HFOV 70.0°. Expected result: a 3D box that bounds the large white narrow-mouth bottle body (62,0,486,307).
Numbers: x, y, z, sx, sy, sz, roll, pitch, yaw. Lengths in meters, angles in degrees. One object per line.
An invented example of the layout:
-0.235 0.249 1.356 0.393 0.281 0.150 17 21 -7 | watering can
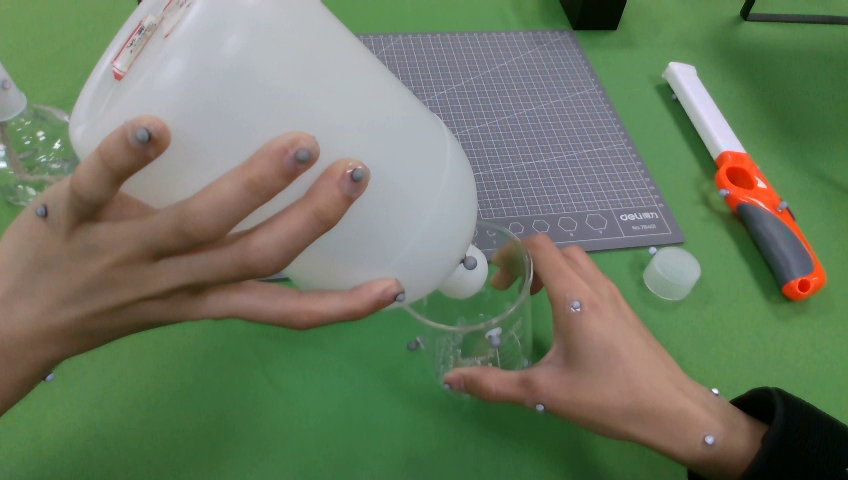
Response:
-0.038 -0.026 0.267 0.101 0.197 0.101 -24 48 30 | large white narrow-mouth bottle body

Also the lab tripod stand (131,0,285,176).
-0.165 -0.144 0.468 0.148 0.132 0.147 4 52 -5 | lab tripod stand

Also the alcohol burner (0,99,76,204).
-0.293 -0.082 0.422 0.078 0.120 0.077 4 50 -4 | alcohol burner

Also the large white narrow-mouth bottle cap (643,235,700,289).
0.187 0.017 0.458 0.038 0.024 0.037 3 52 -3 | large white narrow-mouth bottle cap

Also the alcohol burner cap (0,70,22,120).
-0.290 -0.104 0.393 0.034 0.048 0.033 2 58 -4 | alcohol burner cap

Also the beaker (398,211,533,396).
0.025 0.044 0.362 0.084 0.101 0.073 -17 51 -2 | beaker

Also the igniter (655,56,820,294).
0.266 -0.069 0.530 0.057 0.025 0.273 4 52 -17 | igniter
